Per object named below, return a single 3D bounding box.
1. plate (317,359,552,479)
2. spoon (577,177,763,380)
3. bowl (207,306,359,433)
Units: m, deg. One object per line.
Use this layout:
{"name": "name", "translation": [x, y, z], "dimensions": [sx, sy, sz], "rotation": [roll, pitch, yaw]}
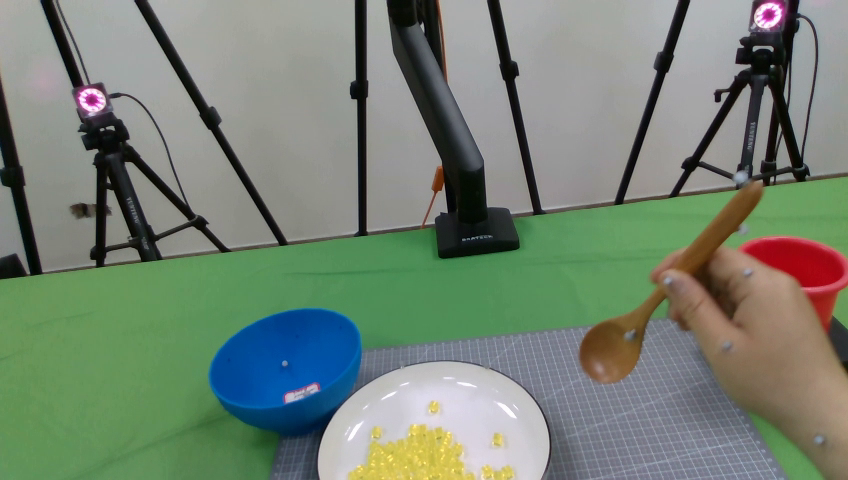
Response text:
{"name": "plate", "translation": [0.010, 0.190, 0.547], "dimensions": [0.207, 0.039, 0.206], "rotation": [-6, 29, 4]}
{"name": "spoon", "translation": [0.150, 0.033, 0.387], "dimensions": [0.022, 0.195, 0.041], "rotation": [-21, 60, -31]}
{"name": "bowl", "translation": [-0.135, 0.143, 0.621], "dimensions": [0.151, 0.077, 0.150], "rotation": [-5, 30, 4]}
